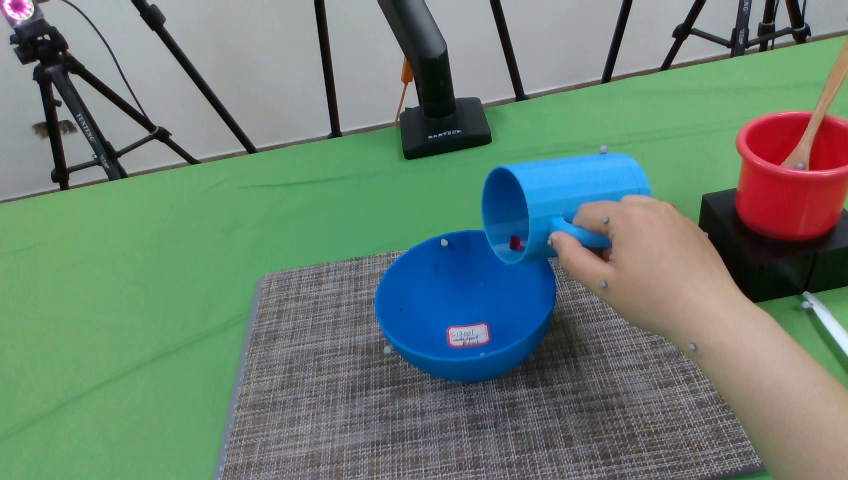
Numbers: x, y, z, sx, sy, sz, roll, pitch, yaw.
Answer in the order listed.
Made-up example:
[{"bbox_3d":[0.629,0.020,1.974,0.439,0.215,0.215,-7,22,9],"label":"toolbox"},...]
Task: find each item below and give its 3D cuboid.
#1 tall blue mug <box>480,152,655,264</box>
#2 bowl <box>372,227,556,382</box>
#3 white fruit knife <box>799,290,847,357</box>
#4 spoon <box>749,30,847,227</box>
[{"bbox_3d":[0.114,-0.028,0.461,0.108,0.077,0.107,-8,-5,-21],"label":"tall blue mug"},{"bbox_3d":[0.038,0.067,0.516,0.151,0.077,0.150,-8,40,7],"label":"bowl"},{"bbox_3d":[0.335,0.107,0.446,0.027,0.016,0.205,11,36,-13],"label":"white fruit knife"},{"bbox_3d":[0.330,-0.100,0.510,0.041,0.022,0.194,27,98,40],"label":"spoon"}]
